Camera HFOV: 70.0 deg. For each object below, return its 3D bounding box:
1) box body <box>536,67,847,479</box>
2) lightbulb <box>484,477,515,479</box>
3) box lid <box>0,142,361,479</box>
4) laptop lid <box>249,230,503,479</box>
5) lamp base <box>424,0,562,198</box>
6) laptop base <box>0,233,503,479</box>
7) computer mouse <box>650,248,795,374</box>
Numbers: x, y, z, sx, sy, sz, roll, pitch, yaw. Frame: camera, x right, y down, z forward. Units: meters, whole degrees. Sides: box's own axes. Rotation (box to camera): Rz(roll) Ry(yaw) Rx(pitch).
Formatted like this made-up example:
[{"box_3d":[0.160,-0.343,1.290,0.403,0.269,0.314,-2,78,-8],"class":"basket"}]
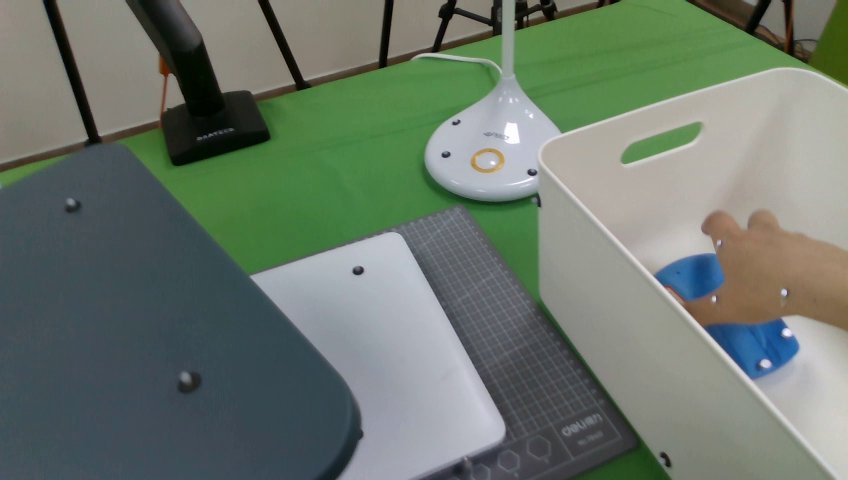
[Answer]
[{"box_3d":[0.262,0.058,0.402,0.254,0.162,0.359,-19,46,-13],"class":"box body"},{"box_3d":[0.055,0.197,0.362,0.059,0.060,0.106,-16,61,-10],"class":"lightbulb"},{"box_3d":[-0.228,0.065,0.316,0.263,0.015,0.367,-34,45,-23],"class":"box lid"},{"box_3d":[-0.144,0.117,0.468,0.357,0.013,0.239,-17,48,-12],"class":"laptop lid"},{"box_3d":[0.075,-0.165,0.637,0.160,0.182,0.178,5,43,11],"class":"lamp base"},{"box_3d":[-0.144,0.124,0.478,0.355,0.023,0.233,-19,49,-13],"class":"laptop base"},{"box_3d":[0.240,0.052,0.489,0.063,0.041,0.116,-16,51,-15],"class":"computer mouse"}]
